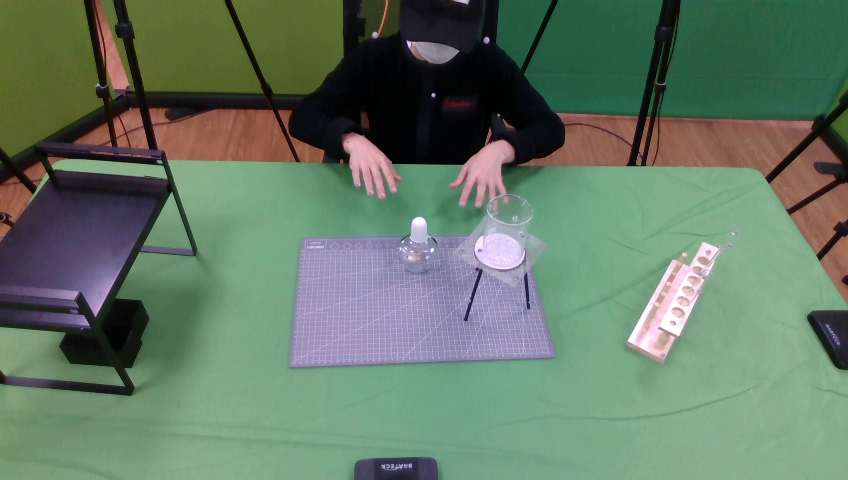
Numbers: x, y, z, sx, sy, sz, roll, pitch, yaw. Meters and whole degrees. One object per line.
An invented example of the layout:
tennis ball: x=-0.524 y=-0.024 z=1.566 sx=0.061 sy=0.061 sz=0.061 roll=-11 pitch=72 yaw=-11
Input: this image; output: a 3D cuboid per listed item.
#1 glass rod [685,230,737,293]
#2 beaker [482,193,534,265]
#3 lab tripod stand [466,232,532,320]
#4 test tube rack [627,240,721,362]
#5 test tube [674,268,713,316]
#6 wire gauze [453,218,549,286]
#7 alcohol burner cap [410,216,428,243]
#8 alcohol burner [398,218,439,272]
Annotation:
glass rod: x=0.495 y=0.042 z=1.051 sx=0.008 sy=0.200 sz=0.008 roll=2 pitch=55 yaw=-2
beaker: x=0.135 y=-0.016 z=0.979 sx=0.073 sy=0.101 sz=0.084 roll=35 pitch=52 yaw=28
lab tripod stand: x=0.125 y=0.059 z=1.065 sx=0.148 sy=0.132 sz=0.147 roll=1 pitch=45 yaw=0
test tube rack: x=0.452 y=0.098 z=1.087 sx=0.066 sy=0.085 sz=0.242 roll=28 pitch=51 yaw=22
test tube: x=0.445 y=0.098 z=1.017 sx=0.017 sy=0.151 sz=0.017 roll=4 pitch=49 yaw=-4
wire gauze: x=0.129 y=0.014 z=1.018 sx=0.124 sy=0.011 sz=0.121 roll=26 pitch=47 yaw=25
alcohol burner cap: x=-0.009 y=-0.022 z=1.099 sx=0.034 sy=0.048 sz=0.033 roll=2 pitch=41 yaw=-1
alcohol burner: x=-0.010 y=0.004 z=1.123 sx=0.078 sy=0.120 sz=0.077 roll=1 pitch=47 yaw=0
